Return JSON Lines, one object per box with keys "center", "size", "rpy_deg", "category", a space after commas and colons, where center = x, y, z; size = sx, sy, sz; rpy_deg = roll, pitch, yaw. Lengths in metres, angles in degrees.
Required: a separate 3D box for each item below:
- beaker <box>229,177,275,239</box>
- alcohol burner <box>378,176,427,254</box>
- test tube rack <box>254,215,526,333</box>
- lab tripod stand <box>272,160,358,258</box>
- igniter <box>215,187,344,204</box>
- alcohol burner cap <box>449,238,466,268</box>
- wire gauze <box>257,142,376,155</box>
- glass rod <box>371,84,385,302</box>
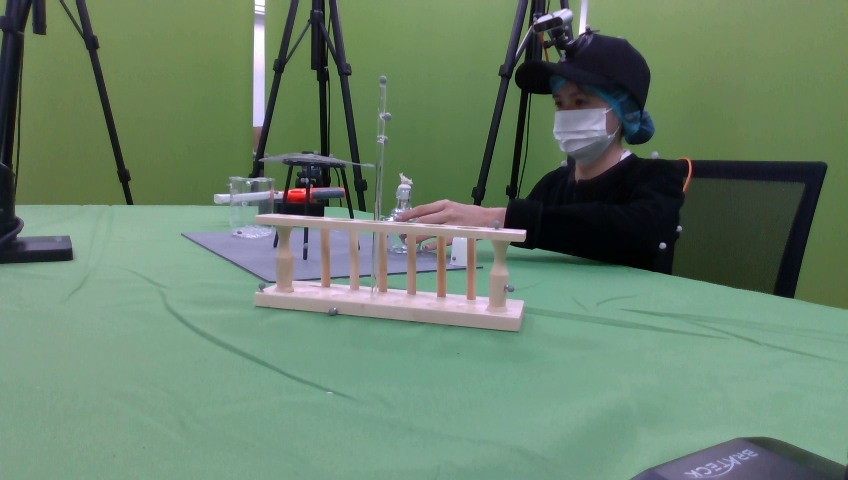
{"center": [-0.292, -0.056, 1.023], "size": [0.074, 0.100, 0.083], "rpy_deg": [-1, 8, -26], "category": "beaker"}
{"center": [-0.033, -0.039, 0.929], "size": [0.078, 0.119, 0.078], "rpy_deg": [1, 6, 0], "category": "alcohol burner"}
{"center": [-0.030, 0.025, 0.558], "size": [0.242, 0.085, 0.067], "rpy_deg": [4, 7, 12], "category": "test tube rack"}
{"center": [-0.159, -0.048, 0.876], "size": [0.148, 0.131, 0.148], "rpy_deg": [3, 5, 0], "category": "lab tripod stand"}
{"center": [-0.289, -0.093, 1.255], "size": [0.278, 0.025, 0.057], "rpy_deg": [-6, 12, -34], "category": "igniter"}
{"center": [0.051, 0.015, 0.828], "size": [0.034, 0.048, 0.034], "rpy_deg": [2, 6, 0], "category": "alcohol burner cap"}
{"center": [-0.155, -0.130, 0.871], "size": [0.124, 0.011, 0.122], "rpy_deg": [-1, 7, 36], "category": "wire gauze"}
{"center": [-0.041, -0.041, 0.548], "size": [0.008, 0.199, 0.008], "rpy_deg": [2, 2, 0], "category": "glass rod"}
